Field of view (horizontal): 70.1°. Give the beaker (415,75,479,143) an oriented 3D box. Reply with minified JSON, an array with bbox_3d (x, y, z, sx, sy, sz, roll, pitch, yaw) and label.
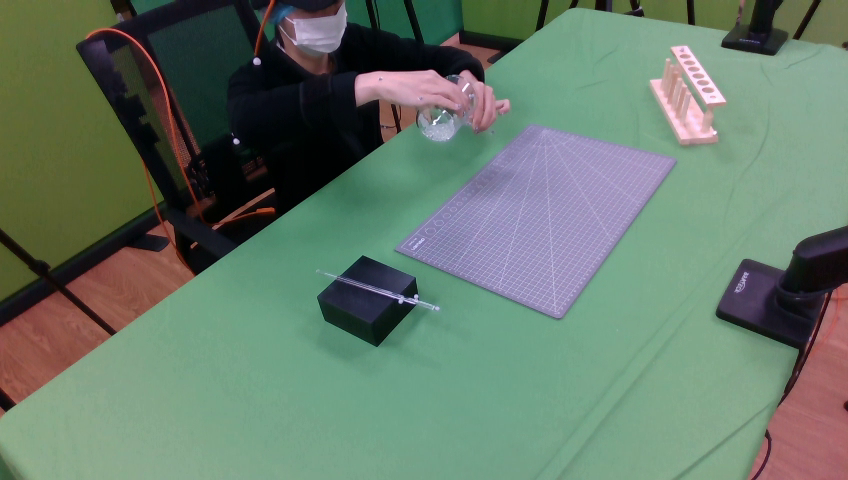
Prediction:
[{"bbox_3d":[0.036,-0.206,0.972,0.073,0.084,0.100,9,42,27],"label":"beaker"}]

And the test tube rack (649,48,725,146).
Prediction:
[{"bbox_3d":[0.508,-0.285,1.186,0.067,0.085,0.241,-4,40,6],"label":"test tube rack"}]

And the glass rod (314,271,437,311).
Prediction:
[{"bbox_3d":[-0.071,0.069,0.837,0.198,0.008,0.008,14,44,24],"label":"glass rod"}]

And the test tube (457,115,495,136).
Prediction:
[{"bbox_3d":[0.096,-0.205,1.091,0.017,0.017,0.151,17,8,27],"label":"test tube"}]
